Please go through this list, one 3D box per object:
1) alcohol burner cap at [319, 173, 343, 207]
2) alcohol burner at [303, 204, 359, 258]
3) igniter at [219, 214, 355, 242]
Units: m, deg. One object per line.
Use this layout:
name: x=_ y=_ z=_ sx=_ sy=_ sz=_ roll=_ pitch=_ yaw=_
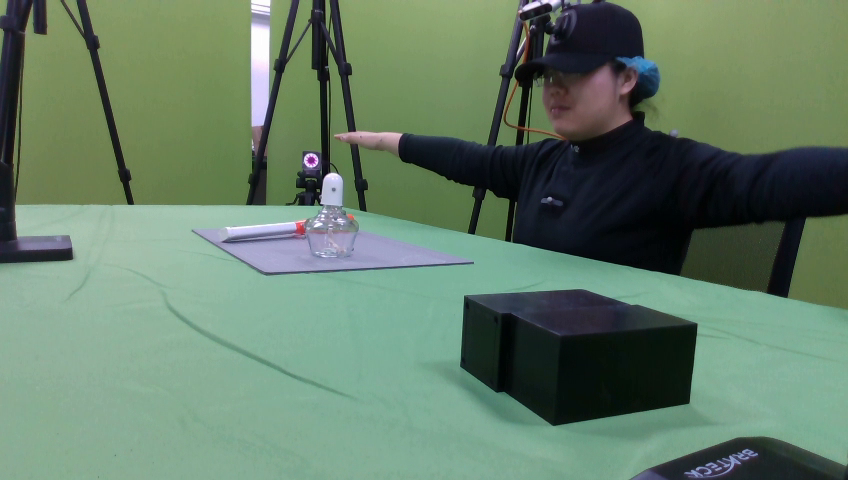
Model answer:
alcohol burner cap: x=-0.129 y=-0.070 z=0.845 sx=0.034 sy=0.048 sz=0.034 roll=4 pitch=4 yaw=0
alcohol burner: x=-0.130 y=-0.035 z=0.850 sx=0.078 sy=0.119 sz=0.078 roll=2 pitch=5 yaw=0
igniter: x=-0.219 y=-0.021 z=1.033 sx=0.057 sy=0.025 sz=0.278 roll=-20 pitch=-7 yaw=39
